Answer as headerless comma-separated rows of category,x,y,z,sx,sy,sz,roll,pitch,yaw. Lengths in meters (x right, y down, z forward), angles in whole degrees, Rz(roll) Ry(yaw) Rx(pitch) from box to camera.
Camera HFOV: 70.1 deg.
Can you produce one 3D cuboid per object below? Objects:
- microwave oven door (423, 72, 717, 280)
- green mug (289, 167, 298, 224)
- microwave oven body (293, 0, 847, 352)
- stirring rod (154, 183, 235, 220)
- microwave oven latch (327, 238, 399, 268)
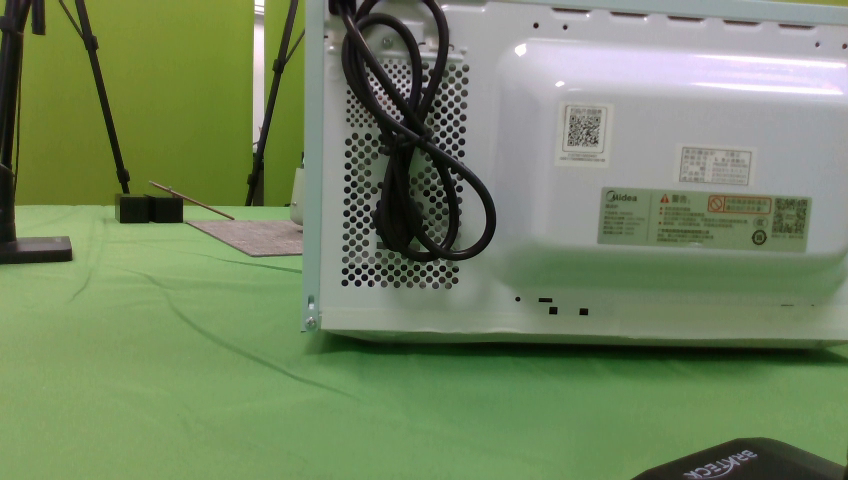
microwave oven door,0.171,-0.088,0.777,0.354,0.243,0.039,5,7,23
green mug,-0.195,-0.080,1.140,0.092,0.105,0.126,10,9,24
microwave oven body,0.122,-0.055,0.550,0.442,0.260,0.325,3,7,-5
stirring rod,-0.472,-0.079,1.252,0.177,0.006,0.014,27,4,-35
microwave oven latch,-0.069,0.015,0.694,0.079,0.029,0.030,3,7,-3
